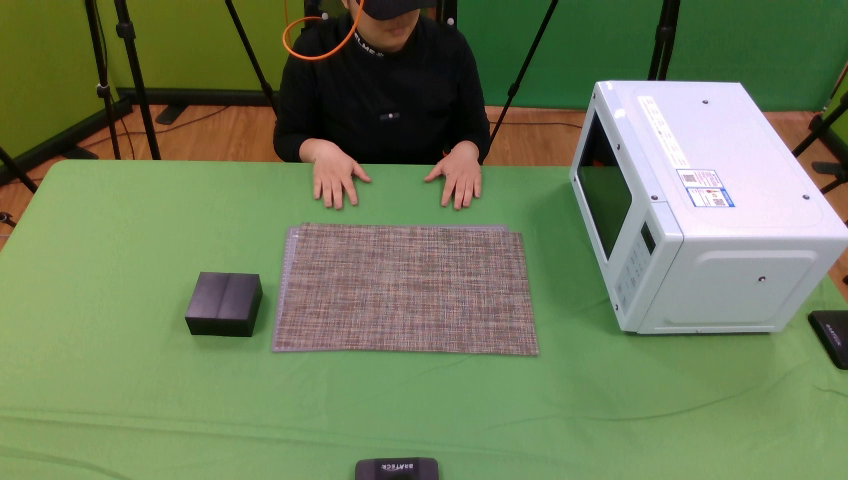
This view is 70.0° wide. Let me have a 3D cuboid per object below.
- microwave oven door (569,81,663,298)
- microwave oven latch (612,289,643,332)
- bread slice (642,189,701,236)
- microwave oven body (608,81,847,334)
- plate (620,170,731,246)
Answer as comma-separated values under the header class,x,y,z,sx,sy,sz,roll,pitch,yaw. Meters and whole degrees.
class,x,y,z,sx,sy,sz,roll,pitch,yaw
microwave oven door,0.353,-0.104,1.147,0.039,0.245,0.353,0,46,-4
microwave oven latch,0.357,0.124,1.068,0.030,0.029,0.078,0,45,-3
bread slice,0.494,-0.056,1.197,0.105,0.019,0.131,6,42,4
microwave oven body,0.501,-0.070,1.132,0.326,0.261,0.438,-1,45,-4
plate,0.490,-0.060,1.194,0.209,0.038,0.208,3,45,-3
